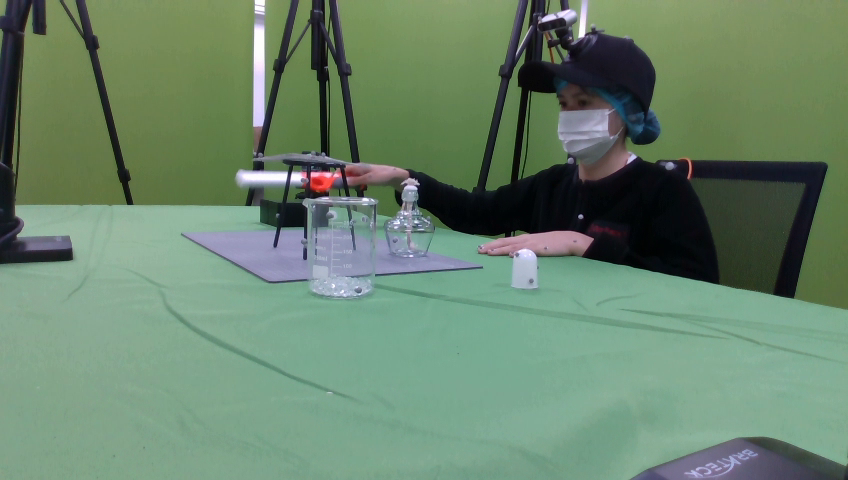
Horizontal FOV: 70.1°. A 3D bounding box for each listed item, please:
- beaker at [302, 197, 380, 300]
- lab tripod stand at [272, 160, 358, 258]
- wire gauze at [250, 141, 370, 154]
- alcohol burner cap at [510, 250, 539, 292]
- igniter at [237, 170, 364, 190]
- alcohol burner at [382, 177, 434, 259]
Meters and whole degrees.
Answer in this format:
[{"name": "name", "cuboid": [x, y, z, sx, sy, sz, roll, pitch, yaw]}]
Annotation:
[{"name": "beaker", "cuboid": [-0.089, 0.007, 0.625, 0.084, 0.100, 0.074, 4, 7, 16]}, {"name": "lab tripod stand", "cuboid": [-0.160, -0.048, 0.876, 0.148, 0.131, 0.148, 3, 5, 0]}, {"name": "wire gauze", "cuboid": [-0.163, -0.131, 0.867, 0.124, 0.011, 0.122, -1, 8, 32]}, {"name": "alcohol burner cap", "cuboid": [0.118, 0.036, 0.704, 0.034, 0.048, 0.034, 0, 6, 0]}, {"name": "igniter", "cuboid": [-0.241, -0.123, 1.227, 0.278, 0.025, 0.057, -3, 47, -41]}, {"name": "alcohol burner", "cuboid": [-0.023, -0.033, 0.891, 0.078, 0.119, 0.078, 1, 6, 0]}]
